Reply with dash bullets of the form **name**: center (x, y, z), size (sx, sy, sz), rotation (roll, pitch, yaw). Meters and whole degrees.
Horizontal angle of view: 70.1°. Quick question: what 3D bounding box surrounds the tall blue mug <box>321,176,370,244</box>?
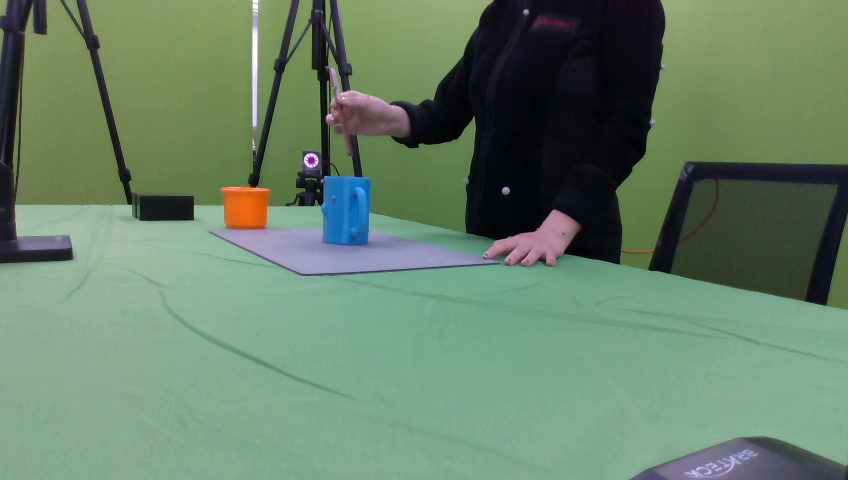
- **tall blue mug**: center (-0.116, -0.049, 0.991), size (0.106, 0.108, 0.078), rotation (7, 8, 33)

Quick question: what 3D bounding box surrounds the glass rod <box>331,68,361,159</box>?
- **glass rod**: center (-0.134, -0.216, 1.020), size (0.008, 0.199, 0.008), rotation (-15, -25, -7)
